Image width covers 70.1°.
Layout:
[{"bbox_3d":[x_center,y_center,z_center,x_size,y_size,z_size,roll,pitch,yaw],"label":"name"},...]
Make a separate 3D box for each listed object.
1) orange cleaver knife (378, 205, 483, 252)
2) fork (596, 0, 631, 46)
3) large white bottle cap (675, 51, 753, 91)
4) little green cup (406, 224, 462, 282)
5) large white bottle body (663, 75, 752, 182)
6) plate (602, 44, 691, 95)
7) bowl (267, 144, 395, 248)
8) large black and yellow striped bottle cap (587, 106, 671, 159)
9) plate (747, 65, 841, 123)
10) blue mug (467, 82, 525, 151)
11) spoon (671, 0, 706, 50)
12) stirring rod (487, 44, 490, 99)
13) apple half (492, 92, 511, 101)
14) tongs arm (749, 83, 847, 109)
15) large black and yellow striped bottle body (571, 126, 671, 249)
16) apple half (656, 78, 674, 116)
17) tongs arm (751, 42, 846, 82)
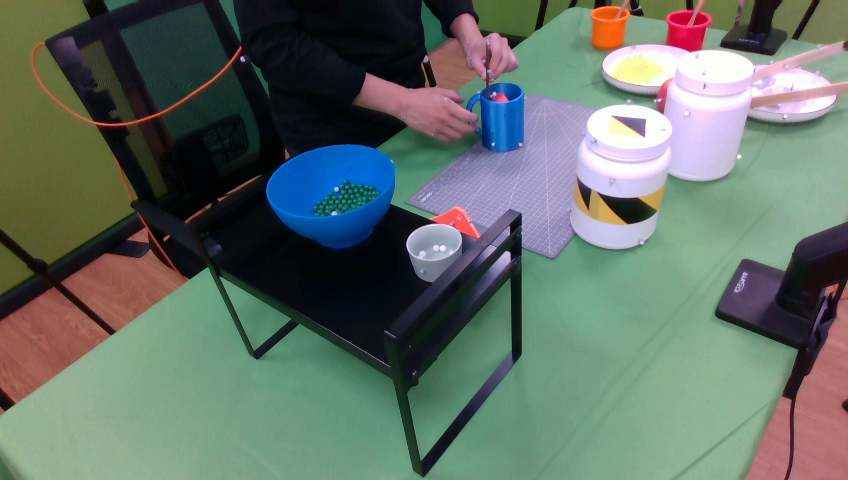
[{"bbox_3d":[0.005,-0.010,0.944,0.210,0.077,0.012,-5,23,47],"label":"orange cleaver knife"},{"bbox_3d":[0.481,-0.555,1.452,0.028,0.019,0.207,41,104,39],"label":"fork"},{"bbox_3d":[0.463,-0.271,0.967,0.115,0.018,0.114,-4,40,3],"label":"large white bottle cap"},{"bbox_3d":[0.012,0.015,0.668,0.061,0.039,0.061,-4,40,4],"label":"little green cup"},{"bbox_3d":[0.472,-0.207,1.022,0.130,0.185,0.130,-4,41,4],"label":"large white bottle body"},{"bbox_3d":[0.494,-0.367,1.317,0.209,0.038,0.208,-4,40,4],"label":"plate"},{"bbox_3d":[-0.104,-0.043,0.726,0.151,0.077,0.150,-4,40,4],"label":"bowl"},{"bbox_3d":[0.290,-0.154,0.858,0.115,0.019,0.114,-4,42,4],"label":"large black and yellow striped bottle cap"},{"bbox_3d":[0.695,-0.282,1.189,0.207,0.039,0.206,-4,40,4],"label":"plate"},{"bbox_3d":[0.138,-0.241,1.169,0.116,0.106,0.082,11,44,21],"label":"blue mug"},{"bbox_3d":[0.629,-0.520,1.394,0.041,0.022,0.193,30,96,34],"label":"spoon"},{"bbox_3d":[0.120,-0.279,1.131,0.006,0.177,0.014,1,35,7],"label":"stirring rod"},{"bbox_3d":[0.144,-0.240,1.154,0.033,0.081,0.080,-13,40,-20],"label":"apple half"},{"bbox_3d":[0.734,-0.280,1.133,0.388,0.028,0.028,-9,47,-5],"label":"tongs arm"},{"bbox_3d":[0.296,-0.093,0.915,0.131,0.185,0.130,-3,42,3],"label":"large black and yellow striped bottle body"},{"bbox_3d":[0.488,-0.281,1.192,0.053,0.075,0.081,24,54,37],"label":"apple half"},{"bbox_3d":[0.708,-0.331,1.193,0.386,0.026,0.050,-18,45,-16],"label":"tongs arm"}]
